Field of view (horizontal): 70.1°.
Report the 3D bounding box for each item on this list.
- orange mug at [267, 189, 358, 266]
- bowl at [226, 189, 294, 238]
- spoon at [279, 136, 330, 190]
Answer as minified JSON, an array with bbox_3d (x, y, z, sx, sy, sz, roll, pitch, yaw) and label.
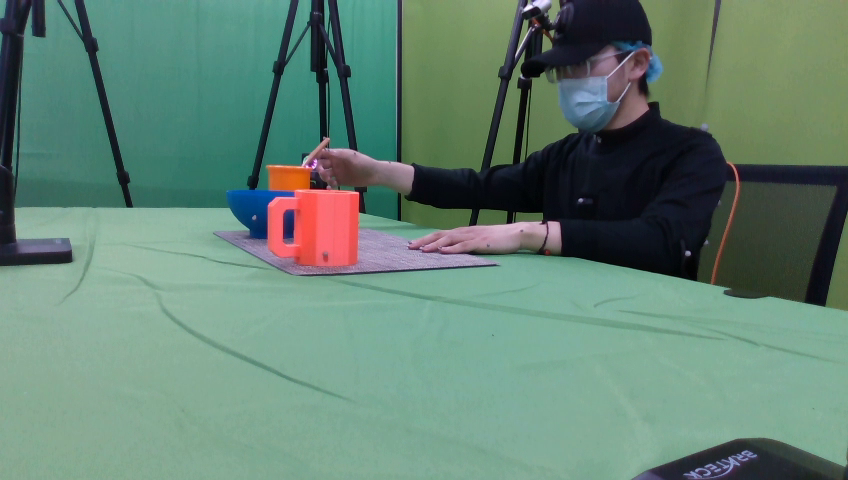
[{"bbox_3d":[-0.145,-0.019,0.797,0.127,0.100,0.083,3,6,-37],"label":"orange mug"},{"bbox_3d":[-0.264,-0.046,1.050,0.151,0.077,0.151,2,7,0],"label":"bowl"},{"bbox_3d":[-0.245,-0.150,1.234,0.041,0.194,0.022,7,-36,35],"label":"spoon"}]
